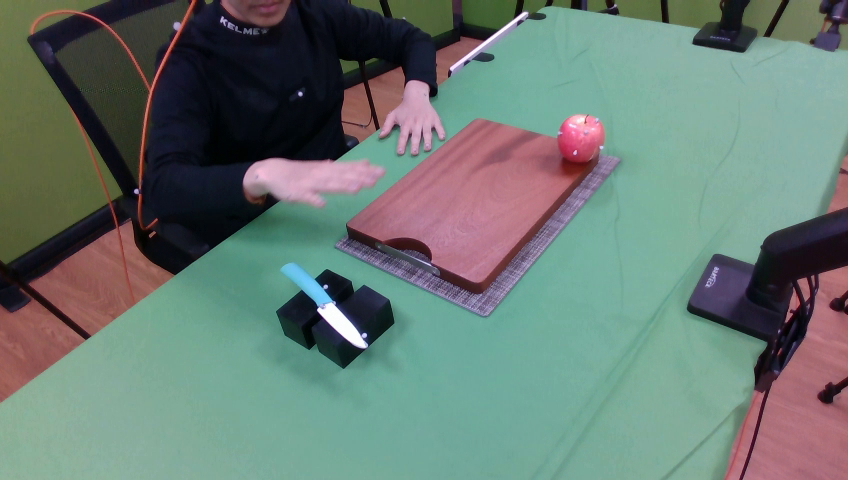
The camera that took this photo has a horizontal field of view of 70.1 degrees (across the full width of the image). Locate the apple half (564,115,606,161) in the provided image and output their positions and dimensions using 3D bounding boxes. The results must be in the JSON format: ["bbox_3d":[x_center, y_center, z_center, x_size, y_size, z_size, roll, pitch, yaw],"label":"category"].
[{"bbox_3d":[0.284,-0.181,1.057,0.053,0.075,0.080,-32,44,-31],"label":"apple half"}]

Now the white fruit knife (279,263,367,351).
[{"bbox_3d":[-0.136,0.087,0.819,0.027,0.016,0.205,-46,53,-8],"label":"white fruit knife"}]

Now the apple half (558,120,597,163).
[{"bbox_3d":[0.255,-0.163,1.037,0.033,0.081,0.080,-33,46,-31],"label":"apple half"}]
